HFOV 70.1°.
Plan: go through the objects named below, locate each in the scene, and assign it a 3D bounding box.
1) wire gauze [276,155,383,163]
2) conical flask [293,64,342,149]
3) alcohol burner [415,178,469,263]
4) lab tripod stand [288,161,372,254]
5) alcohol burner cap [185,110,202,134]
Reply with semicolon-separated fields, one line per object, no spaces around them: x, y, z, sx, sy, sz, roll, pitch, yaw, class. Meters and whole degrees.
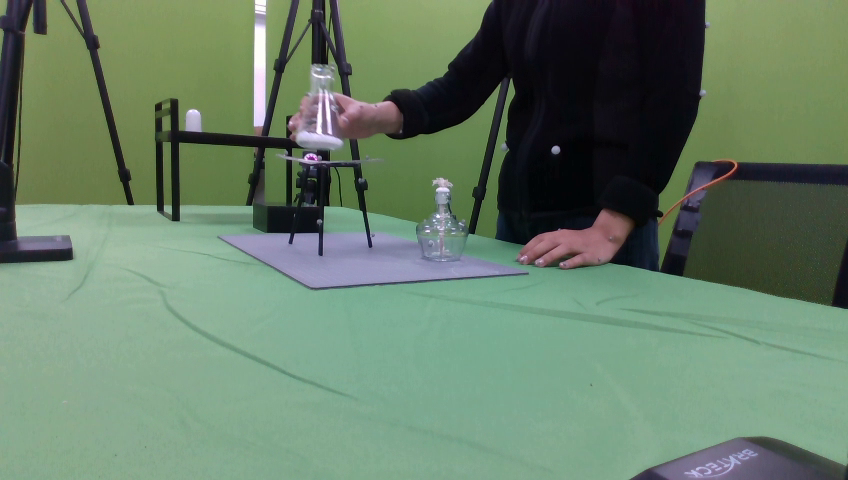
-0.142;-0.118;0.900;0.122;0.011;0.124;-3;8;-37;wire gauze
-0.161;-0.204;0.925;0.075;0.121;0.075;1;-2;0;conical flask
0.026;-0.028;0.863;0.078;0.119;0.078;1;6;0;alcohol burner
-0.148;-0.052;0.908;0.148;0.131;0.148;1;8;0;lab tripod stand
-0.470;-0.242;1.234;0.034;0.048;0.034;4;7;0;alcohol burner cap
